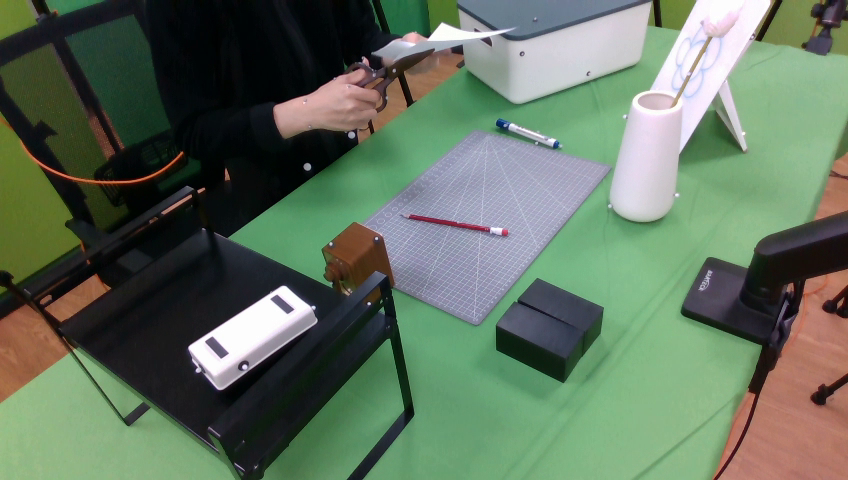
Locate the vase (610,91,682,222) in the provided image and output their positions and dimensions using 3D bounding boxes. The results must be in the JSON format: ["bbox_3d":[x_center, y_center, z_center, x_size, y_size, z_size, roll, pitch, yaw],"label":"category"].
[{"bbox_3d":[0.348,-0.125,0.935,0.098,0.201,0.097,-3,40,3],"label":"vase"}]

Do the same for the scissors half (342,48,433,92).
[{"bbox_3d":[-0.058,-0.259,0.903,0.174,0.040,0.013,-7,33,34],"label":"scissors half"}]

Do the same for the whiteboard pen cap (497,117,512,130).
[{"bbox_3d":[0.165,-0.235,1.226,0.033,0.018,0.018,32,53,31],"label":"whiteboard pen cap"}]

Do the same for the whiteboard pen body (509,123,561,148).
[{"bbox_3d":[0.209,-0.212,1.195,0.139,0.017,0.017,30,52,33],"label":"whiteboard pen body"}]

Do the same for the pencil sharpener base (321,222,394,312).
[{"bbox_3d":[-0.096,0.041,0.873,0.061,0.107,0.077,25,54,32],"label":"pencil sharpener base"}]

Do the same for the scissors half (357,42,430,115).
[{"bbox_3d":[-0.046,-0.241,0.909,0.040,0.174,0.013,48,43,-6],"label":"scissors half"}]

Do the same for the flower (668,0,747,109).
[{"bbox_3d":[0.354,-0.187,0.879,0.038,0.362,0.044,30,48,14],"label":"flower"}]

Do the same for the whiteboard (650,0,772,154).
[{"bbox_3d":[0.543,-0.298,1.076,0.144,0.305,0.216,12,40,-7],"label":"whiteboard"}]

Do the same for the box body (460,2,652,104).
[{"bbox_3d":[0.291,-0.465,1.371,0.365,0.161,0.252,-22,42,-16],"label":"box body"}]

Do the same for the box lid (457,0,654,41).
[{"bbox_3d":[0.285,-0.522,1.323,0.373,0.015,0.261,-22,43,-16],"label":"box lid"}]

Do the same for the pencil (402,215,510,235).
[{"bbox_3d":[0.049,-0.027,1.007,0.193,0.012,0.012,10,43,21],"label":"pencil"}]

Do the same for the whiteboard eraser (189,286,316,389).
[{"bbox_3d":[-0.166,0.096,0.593,0.113,0.042,0.055,-36,47,-29],"label":"whiteboard eraser"}]

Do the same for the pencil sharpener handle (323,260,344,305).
[{"bbox_3d":[-0.131,0.062,0.839,0.035,0.068,0.031,29,55,28],"label":"pencil sharpener handle"}]
